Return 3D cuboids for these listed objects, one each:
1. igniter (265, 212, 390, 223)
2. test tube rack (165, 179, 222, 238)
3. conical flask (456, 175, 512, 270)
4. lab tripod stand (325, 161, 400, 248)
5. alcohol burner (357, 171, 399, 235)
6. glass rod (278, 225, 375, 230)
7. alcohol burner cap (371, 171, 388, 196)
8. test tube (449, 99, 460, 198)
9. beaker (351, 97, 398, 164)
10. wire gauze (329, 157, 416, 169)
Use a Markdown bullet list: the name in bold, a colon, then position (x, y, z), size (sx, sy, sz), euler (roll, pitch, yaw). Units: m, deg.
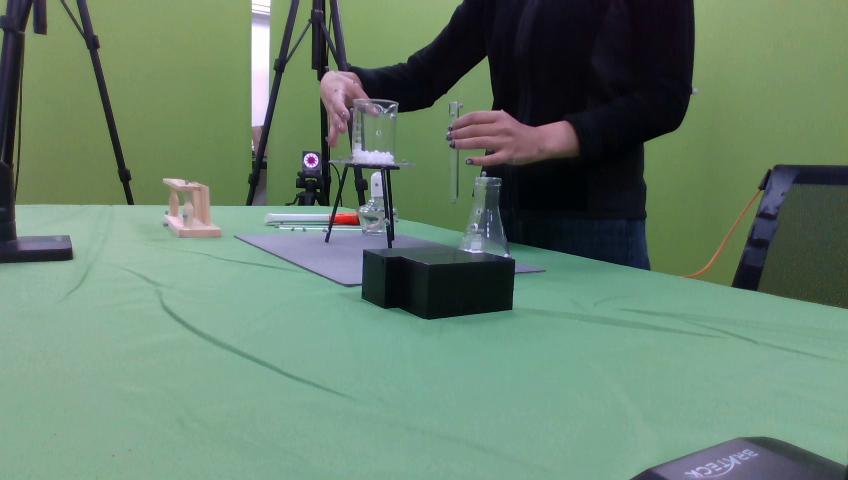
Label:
- **igniter**: position (-0.196, -0.048, 1.285), size (0.278, 0.025, 0.057), euler (-2, -2, -30)
- **test tube rack**: position (-0.423, -0.062, 1.098), size (0.067, 0.085, 0.241), euler (-1, 8, -28)
- **conical flask**: position (0.082, -0.025, 0.801), size (0.075, 0.122, 0.075), euler (2, 7, 0)
- **lab tripod stand**: position (-0.083, -0.059, 0.977), size (0.148, 0.131, 0.148), euler (4, 8, 0)
- **alcohol burner**: position (-0.085, -0.069, 1.125), size (0.078, 0.119, 0.078), euler (3, 10, 0)
- **glass rod**: position (-0.187, -0.024, 1.178), size (0.201, 0.008, 0.008), euler (1, 6, -31)
- **alcohol burner cap**: position (-0.085, -0.104, 1.120), size (0.034, 0.048, 0.034), euler (-5, 8, 1)
- **test tube**: position (0.046, -0.141, 0.933), size (0.017, 0.150, 0.017), euler (0, 5, 0)
- **beaker**: position (-0.078, -0.172, 0.962), size (0.074, 0.100, 0.084), euler (6, 8, 19)
- **wire gauze**: position (-0.079, -0.125, 0.972), size (0.121, 0.011, 0.125), euler (6, 6, 5)
